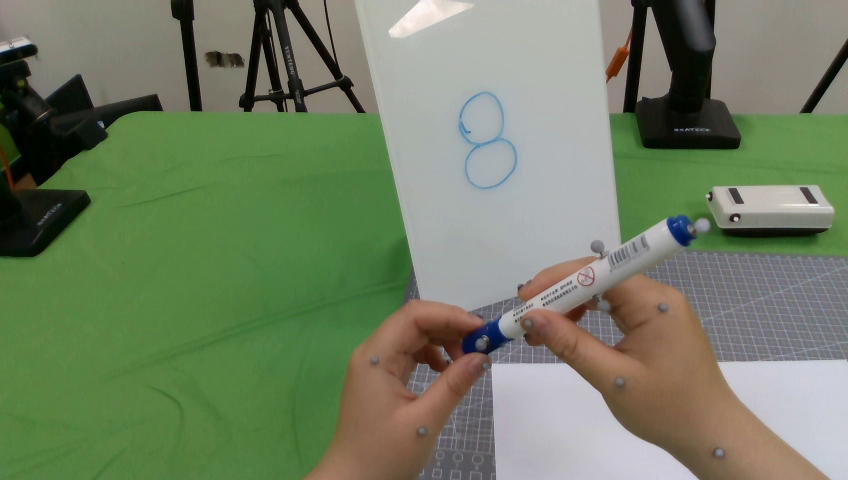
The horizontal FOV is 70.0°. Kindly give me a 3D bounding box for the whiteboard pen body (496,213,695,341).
[{"bbox_3d":[0.074,0.027,0.310,0.017,0.141,0.017,24,46,-28],"label":"whiteboard pen body"}]

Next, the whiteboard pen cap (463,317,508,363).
[{"bbox_3d":[0.038,0.056,0.349,0.018,0.033,0.018,23,44,-24],"label":"whiteboard pen cap"}]

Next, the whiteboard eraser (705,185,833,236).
[{"bbox_3d":[0.364,-0.032,0.645,0.112,0.042,0.055,1,41,6],"label":"whiteboard eraser"}]

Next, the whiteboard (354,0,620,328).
[{"bbox_3d":[0.056,-0.104,0.610,0.217,0.307,0.142,-16,19,-12],"label":"whiteboard"}]
